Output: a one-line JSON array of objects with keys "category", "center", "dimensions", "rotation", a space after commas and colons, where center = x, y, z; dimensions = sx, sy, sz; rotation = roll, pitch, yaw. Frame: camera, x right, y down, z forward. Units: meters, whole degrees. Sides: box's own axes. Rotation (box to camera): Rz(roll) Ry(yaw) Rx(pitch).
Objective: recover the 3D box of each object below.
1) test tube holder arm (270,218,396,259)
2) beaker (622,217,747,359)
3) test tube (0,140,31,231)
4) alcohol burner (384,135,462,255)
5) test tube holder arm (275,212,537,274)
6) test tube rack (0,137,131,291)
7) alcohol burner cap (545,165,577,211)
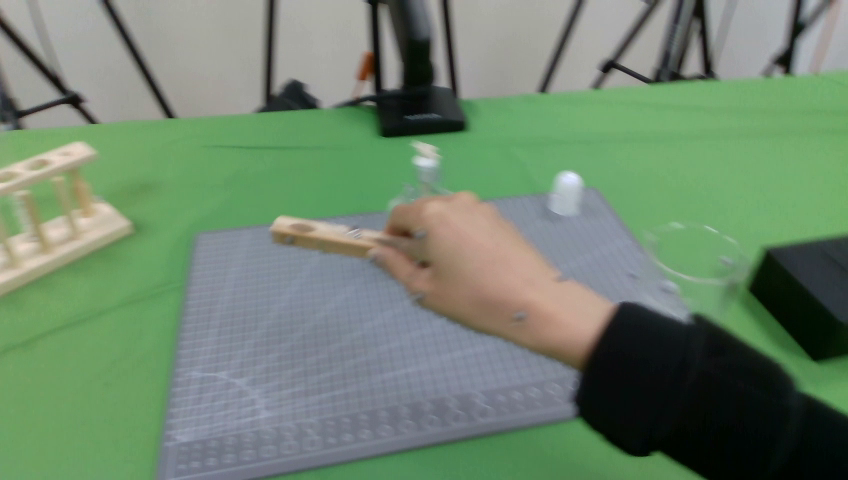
[{"category": "test tube holder arm", "center": [-0.060, -0.001, 0.404], "dimensions": [0.087, 0.015, 0.010], "rotation": [9, 50, 10]}, {"category": "beaker", "center": [0.204, 0.041, 0.496], "dimensions": [0.074, 0.101, 0.083], "rotation": [-28, 46, -31]}, {"category": "test tube", "center": [-0.392, -0.071, 0.560], "dimensions": [0.017, 0.151, 0.017], "rotation": [2, 37, -1]}, {"category": "alcohol burner", "center": [-0.002, -0.046, 0.588], "dimensions": [0.078, 0.120, 0.077], "rotation": [-1, 38, 1]}, {"category": "test tube holder arm", "center": [-0.015, 0.002, 0.400], "dimensions": [0.178, 0.015, 0.013], "rotation": [8, 50, 10]}, {"category": "test tube rack", "center": [-0.411, -0.003, 0.555], "dimensions": [0.066, 0.086, 0.242], "rotation": [29, 47, 30]}, {"category": "alcohol burner cap", "center": [0.152, -0.060, 0.665], "dimensions": [0.034, 0.048, 0.033], "rotation": [1, 39, 0]}]
